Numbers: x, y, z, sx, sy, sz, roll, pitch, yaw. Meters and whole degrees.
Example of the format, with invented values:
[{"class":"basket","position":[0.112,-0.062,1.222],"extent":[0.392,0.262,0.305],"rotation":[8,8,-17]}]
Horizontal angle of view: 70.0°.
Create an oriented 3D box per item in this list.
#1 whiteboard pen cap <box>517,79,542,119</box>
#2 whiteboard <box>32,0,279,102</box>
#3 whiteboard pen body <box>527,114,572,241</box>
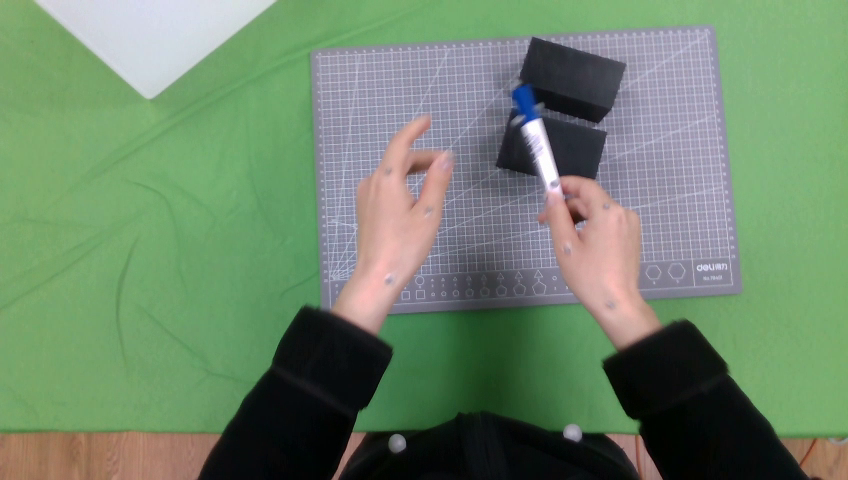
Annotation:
[{"class":"whiteboard pen cap","position":[0.092,-0.123,0.532],"extent":[0.018,0.018,0.033],"rotation":[-15,94,0]},{"class":"whiteboard","position":[-0.301,-0.325,0.571],"extent":[0.217,0.308,0.142],"rotation":[-39,65,-2]},{"class":"whiteboard pen body","position":[0.109,-0.067,0.536],"extent":[0.017,0.017,0.141],"rotation":[-15,94,0]}]
